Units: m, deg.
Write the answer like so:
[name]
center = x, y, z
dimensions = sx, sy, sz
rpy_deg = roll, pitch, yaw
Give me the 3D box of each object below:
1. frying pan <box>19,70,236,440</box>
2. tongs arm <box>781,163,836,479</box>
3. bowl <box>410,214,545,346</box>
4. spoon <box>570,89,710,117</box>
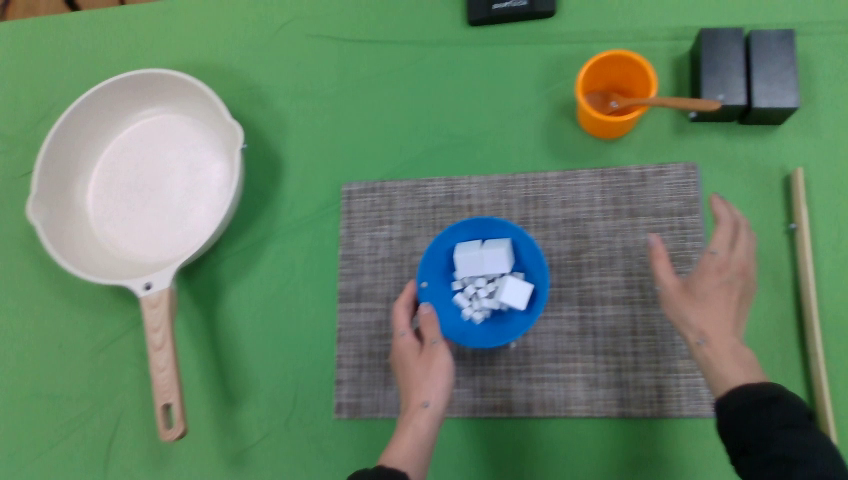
[frying pan]
center = -0.354, 0.011, 0.773
dimensions = 0.307, 0.103, 0.483
rpy_deg = -19, 68, 5
[tongs arm]
center = 0.438, 0.099, 0.680
dimensions = 0.028, 0.028, 0.385
rpy_deg = -3, 78, 6
[bowl]
center = 0.065, 0.052, 0.712
dimensions = 0.151, 0.077, 0.150
rpy_deg = -2, 78, 8
[spoon]
center = 0.241, -0.158, 0.699
dimensions = 0.022, 0.192, 0.041
rpy_deg = 39, 82, -29
